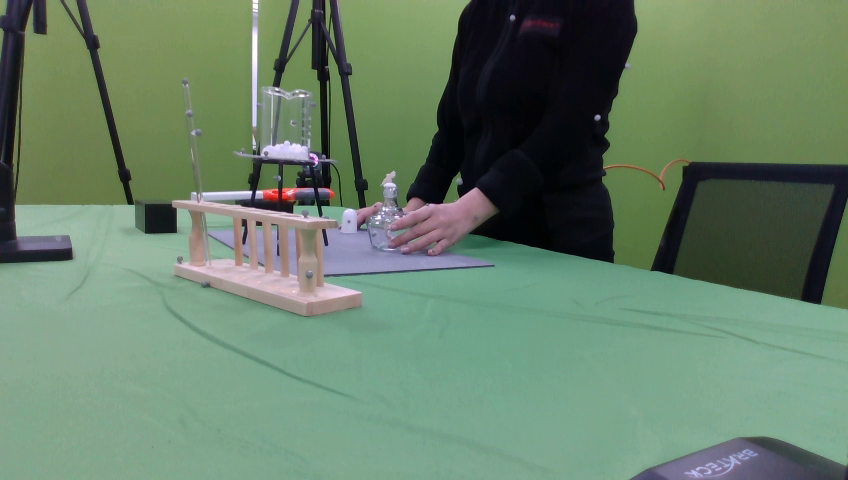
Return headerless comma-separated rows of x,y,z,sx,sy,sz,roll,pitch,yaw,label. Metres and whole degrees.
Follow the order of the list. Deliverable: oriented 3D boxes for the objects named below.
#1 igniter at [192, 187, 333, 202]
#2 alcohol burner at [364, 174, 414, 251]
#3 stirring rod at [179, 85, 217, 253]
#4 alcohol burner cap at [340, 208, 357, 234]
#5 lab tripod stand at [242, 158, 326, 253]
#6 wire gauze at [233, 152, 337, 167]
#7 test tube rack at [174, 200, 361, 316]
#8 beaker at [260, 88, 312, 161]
-0.316,-0.090,1.214,0.278,0.025,0.057,-5,12,-31,igniter
-0.055,-0.043,0.943,0.078,0.119,0.078,1,6,0,alcohol burner
-0.237,-0.073,0.634,0.006,0.176,0.014,0,10,42,stirring rod
-0.142,-0.035,1.136,0.034,0.048,0.034,2,7,0,alcohol burner cap
-0.207,-0.054,0.895,0.148,0.131,0.148,3,5,0,lab tripod stand
-0.205,-0.119,0.887,0.122,0.011,0.124,2,4,-32,wire gauze
-0.169,0.009,0.622,0.241,0.085,0.067,9,9,41,test tube rack
-0.201,-0.166,0.876,0.074,0.100,0.083,1,7,-18,beaker
